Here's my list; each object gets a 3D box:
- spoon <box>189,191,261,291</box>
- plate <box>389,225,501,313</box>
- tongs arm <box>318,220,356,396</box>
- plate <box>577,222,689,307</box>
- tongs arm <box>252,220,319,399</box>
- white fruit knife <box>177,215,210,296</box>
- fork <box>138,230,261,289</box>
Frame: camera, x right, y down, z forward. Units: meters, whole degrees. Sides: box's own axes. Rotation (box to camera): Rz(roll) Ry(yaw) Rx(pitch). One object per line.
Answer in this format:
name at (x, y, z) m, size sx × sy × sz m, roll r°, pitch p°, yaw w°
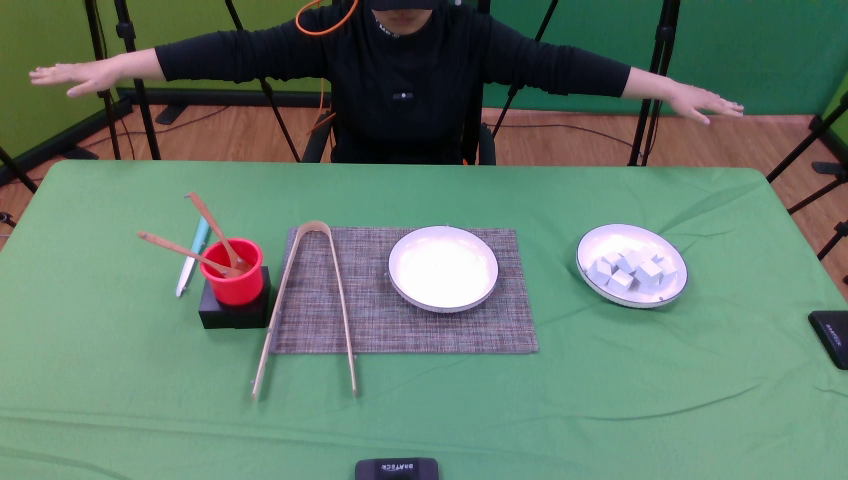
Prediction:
spoon at (-0.333, 0.001, 1.011) m, size 0.041 × 0.194 × 0.021 m, roll -35°, pitch 15°, yaw -25°
plate at (0.038, 0.057, 1.128) m, size 0.208 × 0.039 × 0.206 m, roll 2°, pitch 46°, yaw -2°
tongs arm at (-0.154, 0.104, 1.074) m, size 0.028 × 0.028 × 0.385 m, roll -11°, pitch 47°, yaw -7°
plate at (0.396, 0.050, 1.165) m, size 0.209 × 0.038 × 0.208 m, roll 2°, pitch 47°, yaw -2°
tongs arm at (-0.236, 0.105, 1.067) m, size 0.051 × 0.026 × 0.382 m, roll 1°, pitch 46°, yaw 0°
white fruit knife at (-0.435, 0.025, 1.148) m, size 0.027 × 0.016 × 0.206 m, roll -18°, pitch 45°, yaw 18°
fork at (-0.360, 0.032, 0.981) m, size 0.208 × 0.018 × 0.028 m, roll 31°, pitch 60°, yaw -30°
